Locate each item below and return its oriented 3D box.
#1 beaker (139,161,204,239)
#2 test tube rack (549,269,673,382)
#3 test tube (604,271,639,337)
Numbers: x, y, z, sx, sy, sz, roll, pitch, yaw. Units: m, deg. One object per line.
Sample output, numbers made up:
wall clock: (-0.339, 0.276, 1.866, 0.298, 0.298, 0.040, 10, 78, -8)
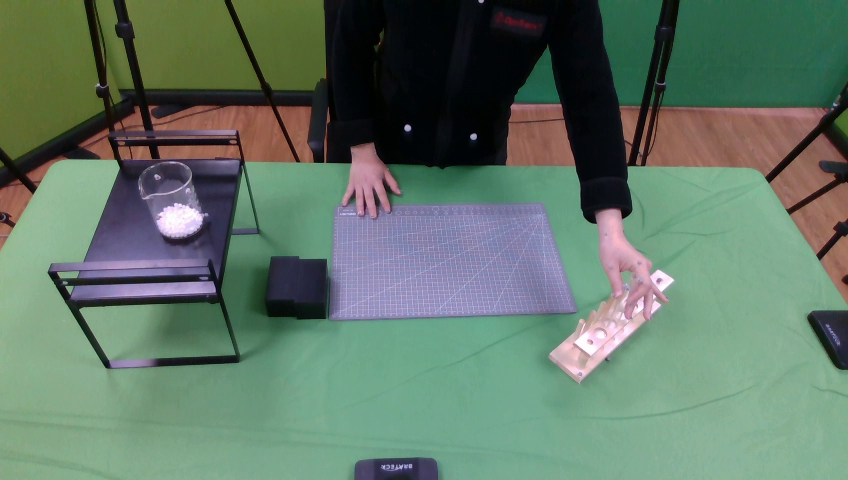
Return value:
beaker: (-0.381, -0.056, 0.920, 0.074, 0.101, 0.084, 22, 49, 18)
test tube rack: (0.325, 0.134, 1.047, 0.242, 0.085, 0.066, -32, 56, -30)
test tube: (0.310, 0.106, 0.959, 0.017, 0.151, 0.017, 3, 43, -3)
